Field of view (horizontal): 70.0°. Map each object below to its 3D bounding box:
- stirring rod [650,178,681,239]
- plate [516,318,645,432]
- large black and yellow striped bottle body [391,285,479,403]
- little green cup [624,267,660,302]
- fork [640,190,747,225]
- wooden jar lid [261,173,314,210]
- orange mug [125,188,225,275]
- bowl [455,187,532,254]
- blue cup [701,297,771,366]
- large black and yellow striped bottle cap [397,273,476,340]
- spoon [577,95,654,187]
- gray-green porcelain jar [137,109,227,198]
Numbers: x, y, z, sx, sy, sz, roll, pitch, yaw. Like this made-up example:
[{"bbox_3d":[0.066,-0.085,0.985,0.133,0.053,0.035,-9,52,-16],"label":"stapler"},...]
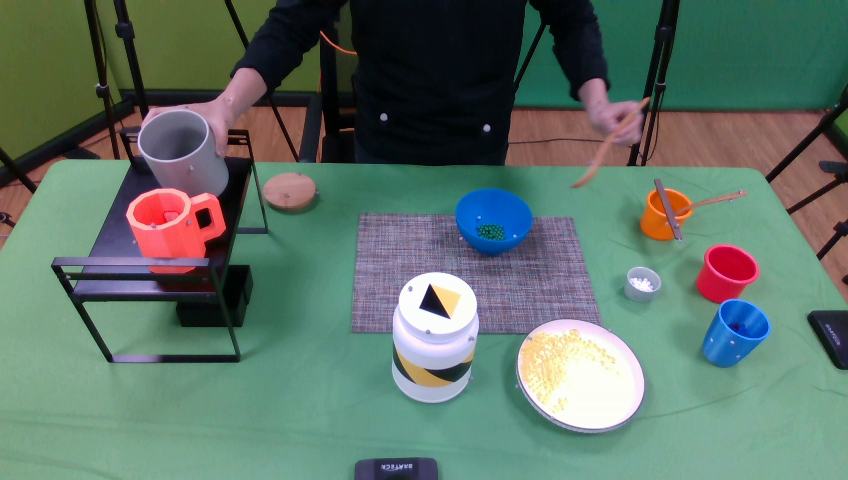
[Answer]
[{"bbox_3d":[0.479,-0.065,1.204,0.014,0.006,0.175,3,46,-3],"label":"stirring rod"},{"bbox_3d":[0.253,0.221,0.992,0.209,0.038,0.208,2,46,-2],"label":"plate"},{"bbox_3d":[0.015,0.153,0.938,0.131,0.185,0.130,2,46,-2],"label":"large black and yellow striped bottle body"},{"bbox_3d":[0.406,0.084,1.135,0.061,0.039,0.061,3,45,-3],"label":"little green cup"},{"bbox_3d":[0.533,-0.065,1.211,0.207,0.019,0.028,-22,28,39],"label":"fork"},{"bbox_3d":[-0.286,-0.101,1.273,0.108,0.021,0.107,3,45,-3],"label":"wooden jar lid"},{"bbox_3d":[-0.357,-0.020,0.884,0.126,0.101,0.083,-29,54,-23],"label":"orange mug"},{"bbox_3d":[0.131,-0.025,1.187,0.151,0.077,0.150,3,46,-2],"label":"bowl"},{"bbox_3d":[0.519,0.162,1.025,0.093,0.101,0.092,3,45,-3],"label":"blue cup"},{"bbox_3d":[0.018,0.094,0.878,0.115,0.019,0.114,3,46,-3],"label":"large black and yellow striped bottle cap"},{"bbox_3d":[0.326,-0.167,1.033,0.021,0.194,0.042,37,16,17],"label":"spoon"},{"bbox_3d":[-0.375,-0.124,0.956,0.106,0.127,0.105,0,59,0],"label":"gray-green porcelain jar"}]
